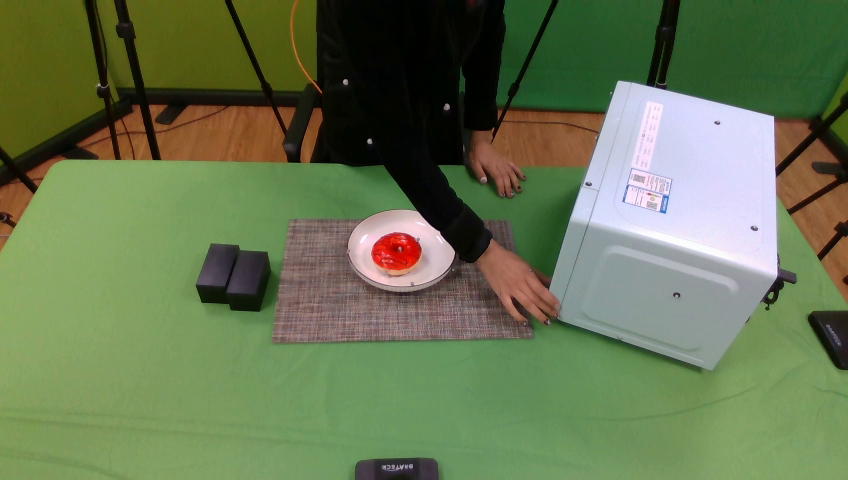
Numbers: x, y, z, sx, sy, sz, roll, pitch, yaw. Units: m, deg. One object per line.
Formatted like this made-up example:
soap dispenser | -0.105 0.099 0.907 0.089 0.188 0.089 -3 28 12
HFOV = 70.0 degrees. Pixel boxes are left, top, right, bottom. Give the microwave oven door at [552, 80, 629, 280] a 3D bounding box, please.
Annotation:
microwave oven door | 0.324 -0.116 1.156 0.039 0.245 0.354 18 48 13

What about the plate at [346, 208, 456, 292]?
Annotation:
plate | -0.044 0.021 1.159 0.209 0.038 0.208 2 47 -2

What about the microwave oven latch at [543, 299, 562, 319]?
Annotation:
microwave oven latch | 0.242 0.104 1.081 0.030 0.029 0.079 31 52 25

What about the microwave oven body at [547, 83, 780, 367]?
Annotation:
microwave oven body | 0.445 -0.041 1.100 0.325 0.261 0.440 17 47 13

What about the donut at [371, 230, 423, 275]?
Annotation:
donut | -0.051 0.022 1.142 0.099 0.048 0.098 0 45 0
